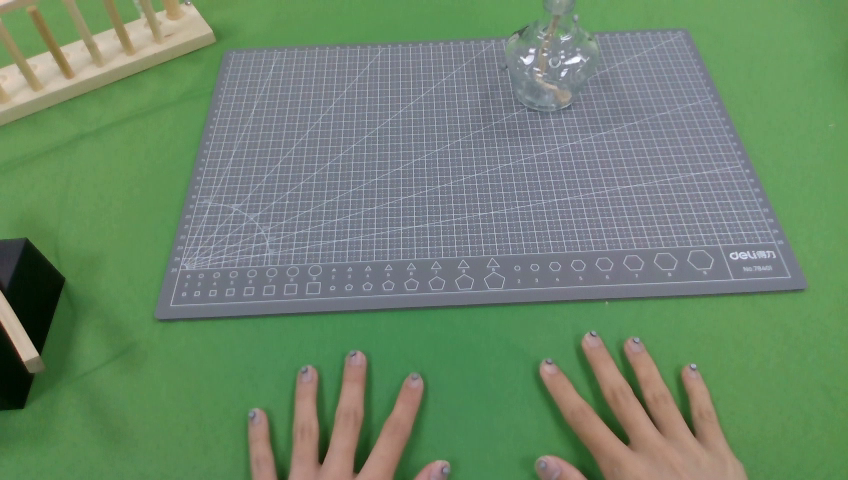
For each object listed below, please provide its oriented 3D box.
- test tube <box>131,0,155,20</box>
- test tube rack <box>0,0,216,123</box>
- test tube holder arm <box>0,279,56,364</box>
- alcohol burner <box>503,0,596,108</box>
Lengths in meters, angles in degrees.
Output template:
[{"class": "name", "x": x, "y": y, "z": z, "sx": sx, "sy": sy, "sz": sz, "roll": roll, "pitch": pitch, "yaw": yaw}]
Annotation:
[{"class": "test tube", "x": -0.281, "y": -0.265, "z": 0.539, "sx": 0.017, "sy": 0.152, "sz": 0.017, "roll": -4, "pitch": 53, "yaw": 6}, {"class": "test tube rack", "x": -0.327, "y": -0.190, "z": 0.548, "sx": 0.242, "sy": 0.086, "sz": 0.066, "roll": -29, "pitch": 58, "yaw": -17}, {"class": "test tube holder arm", "x": -0.279, "y": 0.018, "z": 0.380, "sx": 0.177, "sy": 0.015, "sz": 0.013, "roll": 36, "pitch": 56, "yaw": 23}, {"class": "alcohol burner", "x": 0.105, "y": -0.169, "z": 0.496, "sx": 0.078, "sy": 0.120, "sz": 0.077, "roll": -1, "pitch": 52, "yaw": 1}]
